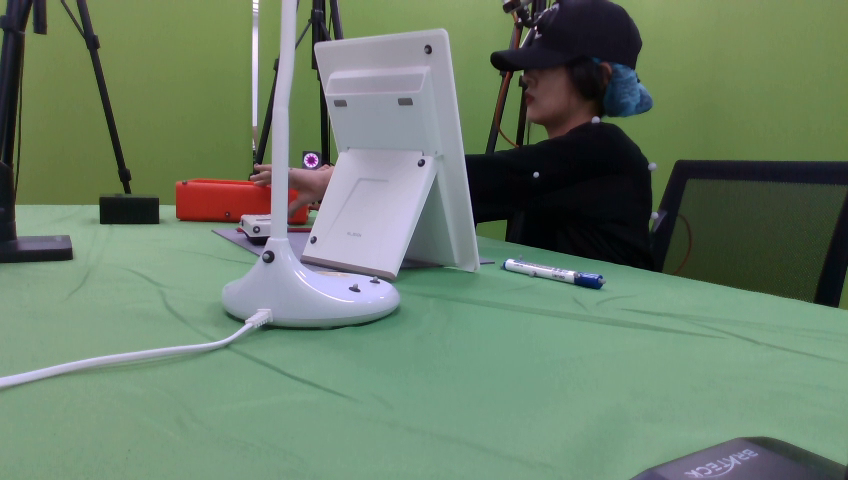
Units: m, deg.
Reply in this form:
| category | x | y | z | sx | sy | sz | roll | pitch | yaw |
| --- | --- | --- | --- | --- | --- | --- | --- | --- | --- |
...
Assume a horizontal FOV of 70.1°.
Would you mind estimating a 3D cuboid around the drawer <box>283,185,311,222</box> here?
| category | x | y | z | sx | sy | sz | roll | pitch | yaw |
| --- | --- | --- | --- | --- | --- | --- | --- | --- | --- |
| drawer | -0.354 | -0.085 | 1.321 | 0.212 | 0.073 | 0.194 | 1 | 8 | -9 |

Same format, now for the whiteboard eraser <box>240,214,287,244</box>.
| category | x | y | z | sx | sy | sz | roll | pitch | yaw |
| --- | --- | --- | --- | --- | --- | --- | --- | --- | --- |
| whiteboard eraser | -0.256 | -0.018 | 0.958 | 0.056 | 0.042 | 0.112 | 0 | 8 | -25 |

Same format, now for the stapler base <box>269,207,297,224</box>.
| category | x | y | z | sx | sy | sz | roll | pitch | yaw |
| --- | --- | --- | --- | --- | --- | --- | --- | --- | --- |
| stapler base | -0.309 | -0.057 | 1.317 | 0.041 | 0.024 | 0.130 | -11 | 8 | 0 |

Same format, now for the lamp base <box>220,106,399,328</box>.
| category | x | y | z | sx | sy | sz | roll | pitch | yaw |
| --- | --- | --- | --- | --- | --- | --- | --- | --- | --- |
| lamp base | -0.101 | -0.023 | 0.531 | 0.160 | 0.180 | 0.179 | 4 | 10 | 10 |

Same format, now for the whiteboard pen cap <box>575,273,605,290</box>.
| category | x | y | z | sx | sy | sz | roll | pitch | yaw |
| --- | --- | --- | --- | --- | --- | --- | --- | --- | --- |
| whiteboard pen cap | 0.197 | 0.047 | 0.719 | 0.018 | 0.018 | 0.033 | -4 | 11 | -41 |

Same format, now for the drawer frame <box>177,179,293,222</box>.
| category | x | y | z | sx | sy | sz | roll | pitch | yaw |
| --- | --- | --- | --- | --- | --- | --- | --- | --- | --- |
| drawer frame | -0.400 | -0.087 | 1.312 | 0.214 | 0.082 | 0.201 | 1 | 8 | -9 |

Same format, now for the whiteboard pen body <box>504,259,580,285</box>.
| category | x | y | z | sx | sy | sz | roll | pitch | yaw |
| --- | --- | --- | --- | --- | --- | --- | --- | --- | --- |
| whiteboard pen body | 0.157 | 0.042 | 0.764 | 0.017 | 0.017 | 0.140 | -4 | 11 | -41 |

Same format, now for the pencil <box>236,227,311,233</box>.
| category | x | y | z | sx | sy | sz | roll | pitch | yaw |
| --- | --- | --- | --- | --- | --- | --- | --- | --- | --- |
| pencil | -0.239 | -0.017 | 1.093 | 0.195 | 0.012 | 0.012 | 1 | 7 | -27 |

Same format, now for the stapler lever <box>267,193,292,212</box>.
| category | x | y | z | sx | sy | sz | roll | pitch | yaw |
| --- | --- | --- | --- | --- | --- | --- | --- | --- | --- |
| stapler lever | -0.315 | -0.082 | 1.315 | 0.027 | 0.040 | 0.118 | -11 | 6 | 0 |

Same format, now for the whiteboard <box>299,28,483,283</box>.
| category | x | y | z | sx | sy | sz | roll | pitch | yaw |
| --- | --- | --- | --- | --- | --- | --- | --- | --- | --- |
| whiteboard | -0.075 | -0.082 | 0.741 | 0.216 | 0.305 | 0.144 | 9 | 30 | 38 |
